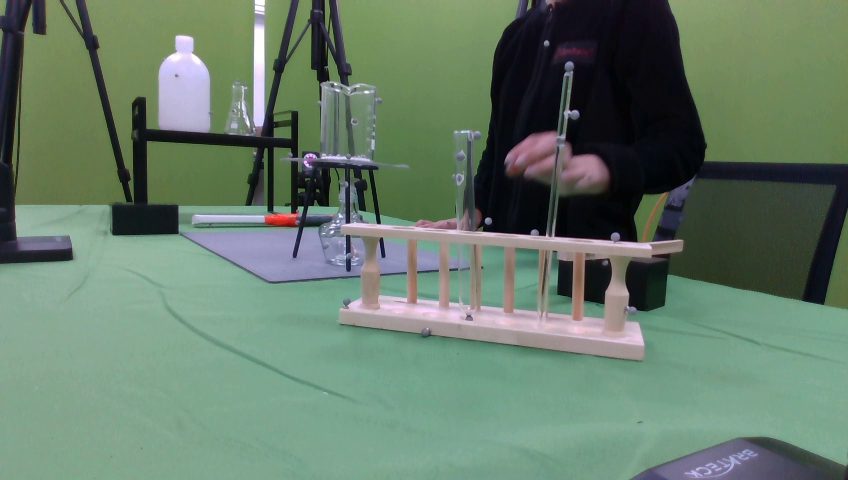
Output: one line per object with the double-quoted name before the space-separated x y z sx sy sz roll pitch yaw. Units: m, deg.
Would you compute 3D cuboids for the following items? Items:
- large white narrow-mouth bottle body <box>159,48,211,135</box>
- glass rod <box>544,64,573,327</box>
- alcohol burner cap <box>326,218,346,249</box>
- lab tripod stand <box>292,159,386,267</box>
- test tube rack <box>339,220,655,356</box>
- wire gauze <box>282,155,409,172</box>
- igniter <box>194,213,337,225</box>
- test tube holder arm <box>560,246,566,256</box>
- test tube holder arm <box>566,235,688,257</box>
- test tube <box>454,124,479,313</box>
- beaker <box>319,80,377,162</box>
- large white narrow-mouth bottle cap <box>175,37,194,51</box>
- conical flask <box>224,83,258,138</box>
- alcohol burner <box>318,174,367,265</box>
"large white narrow-mouth bottle body" -0.503 -0.322 1.275 0.102 0.194 0.102 2 7 0
"glass rod" 0.101 -0.028 0.453 0.008 0.199 0.008 2 13 0
"alcohol burner cap" -0.133 -0.010 0.927 0.034 0.048 0.034 6 7 0
"lab tripod stand" -0.105 -0.039 0.798 0.148 0.131 0.148 2 5 0
"test tube rack" 0.056 0.032 0.495 0.242 0.085 0.067 4 7 15
"wire gauze" -0.104 -0.102 0.785 0.126 0.011 0.121 1 8 -39
"igniter" -0.306 -0.042 1.196 0.278 0.025 0.057 -2 -2 -31
"test tube holder arm" 0.173 0.007 0.611 0.088 0.015 0.010 -3 10 -30
"test tube holder arm" 0.215 0.006 0.629 0.179 0.015 0.013 -3 10 -30
"test tube" 0.034 -0.015 0.477 0.017 0.150 0.017 -2 9 1
"beaker" -0.098 -0.150 0.777 0.074 0.100 0.084 1 7 -8
"large white narrow-mouth bottle cap" -0.501 -0.409 1.264 0.038 0.024 0.037 2 7 0
"conical flask" -0.422 -0.299 1.395 0.075 0.122 0.075 2 7 0
"alcohol burner" -0.100 -0.028 0.790 0.078 0.119 0.078 0 6 0
